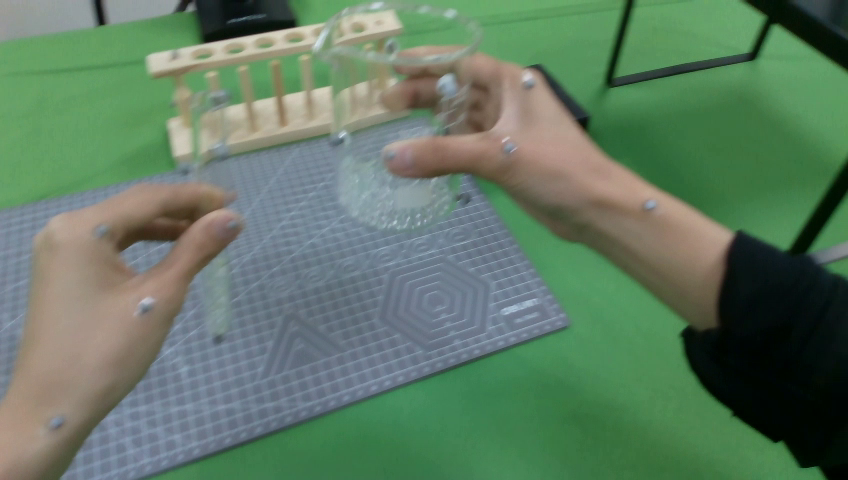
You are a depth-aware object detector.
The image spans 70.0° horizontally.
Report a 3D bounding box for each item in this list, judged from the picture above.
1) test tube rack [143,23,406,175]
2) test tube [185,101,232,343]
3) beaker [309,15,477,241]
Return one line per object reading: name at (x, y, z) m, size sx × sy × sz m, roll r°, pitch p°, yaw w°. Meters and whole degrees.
test tube rack at (-0.142, -0.147, 0.615) m, size 0.243 × 0.086 × 0.066 m, roll -16°, pitch 48°, yaw -16°
test tube at (-0.107, 0.000, 0.306) m, size 0.017 × 0.151 × 0.017 m, roll 8°, pitch 39°, yaw -6°
beaker at (-0.017, -0.056, 0.318) m, size 0.084 × 0.101 × 0.073 m, roll -17°, pitch 42°, yaw -25°
